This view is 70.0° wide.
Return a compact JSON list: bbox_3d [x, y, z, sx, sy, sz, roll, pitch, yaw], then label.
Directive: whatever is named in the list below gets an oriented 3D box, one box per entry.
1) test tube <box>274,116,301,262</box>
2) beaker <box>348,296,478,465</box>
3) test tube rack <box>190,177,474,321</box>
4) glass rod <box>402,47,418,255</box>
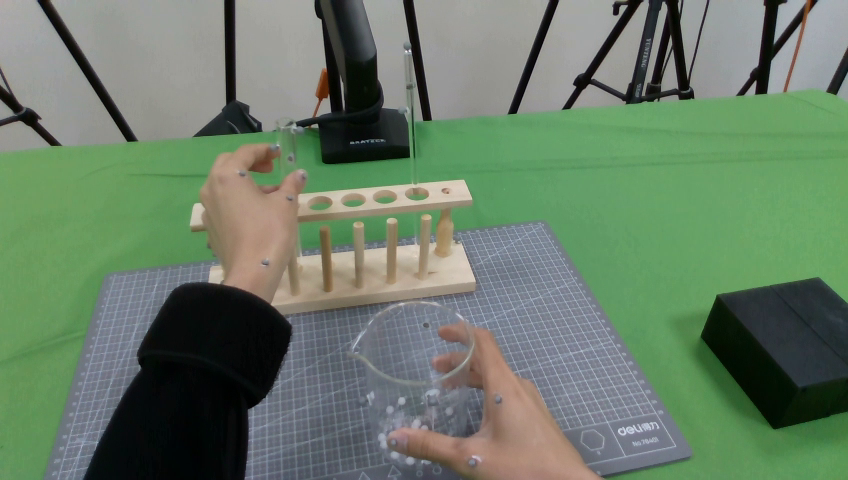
[{"bbox_3d":[-0.117,-0.038,0.525,0.017,0.151,0.017,4,39,-3],"label":"test tube"},{"bbox_3d":[-0.007,0.101,0.420,0.084,0.101,0.073,-5,38,-6],"label":"beaker"},{"bbox_3d":[-0.077,0.006,0.550,0.243,0.086,0.066,-6,39,-9],"label":"test tube rack"},{"bbox_3d":[-0.012,-0.071,0.543,0.008,0.201,0.008,-1,32,1],"label":"glass rod"}]
